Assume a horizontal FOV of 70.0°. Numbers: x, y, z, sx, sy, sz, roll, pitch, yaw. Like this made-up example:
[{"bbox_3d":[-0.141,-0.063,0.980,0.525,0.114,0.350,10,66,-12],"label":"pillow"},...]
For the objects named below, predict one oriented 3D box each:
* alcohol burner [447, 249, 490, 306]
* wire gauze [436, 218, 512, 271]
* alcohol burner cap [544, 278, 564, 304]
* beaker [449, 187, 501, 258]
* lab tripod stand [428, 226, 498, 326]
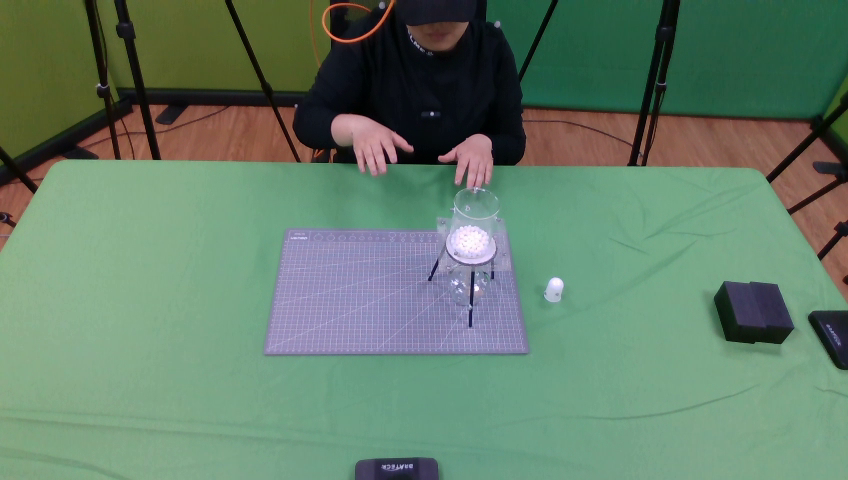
[{"bbox_3d":[0.079,0.062,1.078,0.078,0.120,0.077,1,45,-1],"label":"alcohol burner"},{"bbox_3d":[0.083,0.007,1.026,0.121,0.011,0.124,3,44,-5],"label":"wire gauze"},{"bbox_3d":[0.241,0.090,1.117,0.034,0.048,0.033,2,45,-2],"label":"alcohol burner cap"},{"bbox_3d":[0.080,-0.027,0.991,0.074,0.101,0.083,3,46,-3],"label":"beaker"},{"bbox_3d":[0.079,0.056,1.070,0.148,0.132,0.147,3,47,-3],"label":"lab tripod stand"}]
